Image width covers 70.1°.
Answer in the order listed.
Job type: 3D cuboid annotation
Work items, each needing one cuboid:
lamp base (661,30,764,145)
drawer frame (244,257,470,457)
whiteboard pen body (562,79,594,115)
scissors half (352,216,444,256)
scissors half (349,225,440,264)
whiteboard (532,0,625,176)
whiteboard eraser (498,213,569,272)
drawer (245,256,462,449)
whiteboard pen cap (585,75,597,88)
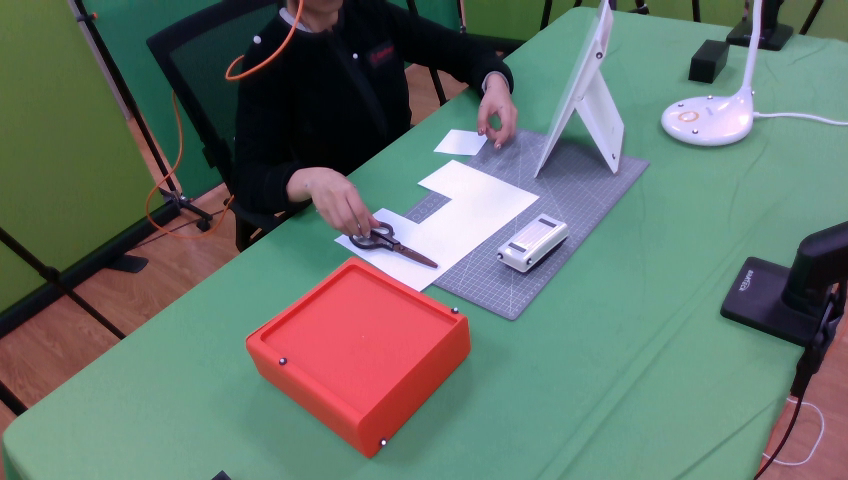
[{"bbox_3d":[0.535,-0.287,1.096,0.179,0.181,0.159,-10,40,-4],"label":"lamp base"},{"bbox_3d":[-0.084,0.138,0.788,0.212,0.083,0.202,25,50,33],"label":"drawer frame"},{"bbox_3d":[0.328,-0.306,1.277,0.017,0.017,0.141,20,52,30],"label":"whiteboard pen body"},{"bbox_3d":[-0.043,-0.003,0.980,0.174,0.013,0.040,21,81,26],"label":"scissors half"},{"bbox_3d":[-0.050,0.013,0.978,0.174,0.013,0.040,15,84,26],"label":"scissors half"},{"bbox_3d":[0.320,-0.259,1.050,0.144,0.306,0.217,21,45,5],"label":"whiteboard"},{"bbox_3d":[0.168,0.006,0.923,0.113,0.042,0.055,-36,48,-28],"label":"whiteboard eraser"},{"bbox_3d":[-0.089,0.136,0.792,0.210,0.073,0.195,26,51,34],"label":"drawer"},{"bbox_3d":[0.362,-0.343,1.310,0.018,0.018,0.033,19,54,29],"label":"whiteboard pen cap"}]
